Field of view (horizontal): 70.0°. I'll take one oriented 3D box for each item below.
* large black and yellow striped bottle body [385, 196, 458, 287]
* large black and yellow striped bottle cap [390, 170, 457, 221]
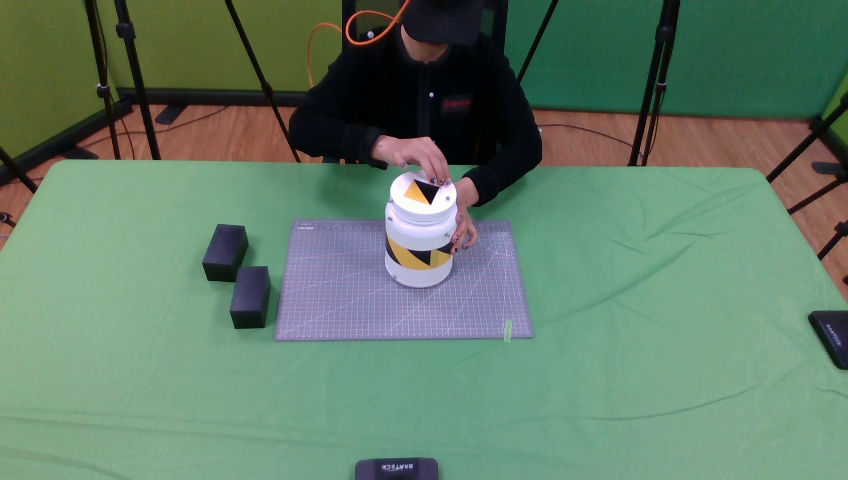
[{"bbox_3d":[-0.006,-0.018,1.097,0.131,0.185,0.130,2,46,-2],"label":"large black and yellow striped bottle body"},{"bbox_3d":[-0.001,-0.077,1.034,0.115,0.019,0.114,2,46,-2],"label":"large black and yellow striped bottle cap"}]
